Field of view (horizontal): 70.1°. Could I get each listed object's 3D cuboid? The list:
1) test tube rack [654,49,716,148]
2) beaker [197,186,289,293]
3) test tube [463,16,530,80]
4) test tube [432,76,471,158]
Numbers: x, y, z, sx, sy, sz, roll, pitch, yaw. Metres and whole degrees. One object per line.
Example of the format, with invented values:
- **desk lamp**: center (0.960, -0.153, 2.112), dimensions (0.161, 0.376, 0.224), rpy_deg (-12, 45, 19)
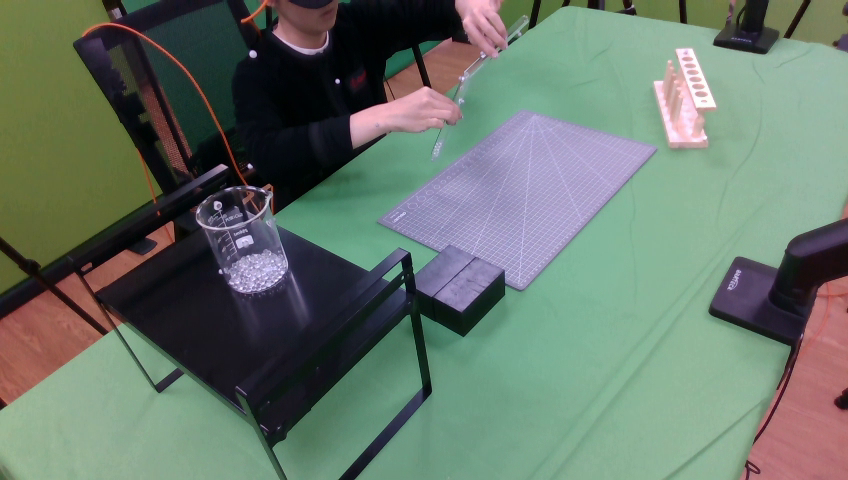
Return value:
- **test tube rack**: center (0.502, -0.281, 1.176), dimensions (0.066, 0.085, 0.241), rpy_deg (1, 41, 11)
- **beaker**: center (-0.192, 0.001, 0.666), dimensions (0.084, 0.101, 0.073), rpy_deg (-32, 47, -27)
- **test tube**: center (0.124, -0.326, 1.024), dimensions (0.150, 0.017, 0.017), rpy_deg (-44, 48, -4)
- **test tube**: center (0.047, -0.212, 1.049), dimensions (0.017, 0.150, 0.017), rpy_deg (20, 22, -8)
